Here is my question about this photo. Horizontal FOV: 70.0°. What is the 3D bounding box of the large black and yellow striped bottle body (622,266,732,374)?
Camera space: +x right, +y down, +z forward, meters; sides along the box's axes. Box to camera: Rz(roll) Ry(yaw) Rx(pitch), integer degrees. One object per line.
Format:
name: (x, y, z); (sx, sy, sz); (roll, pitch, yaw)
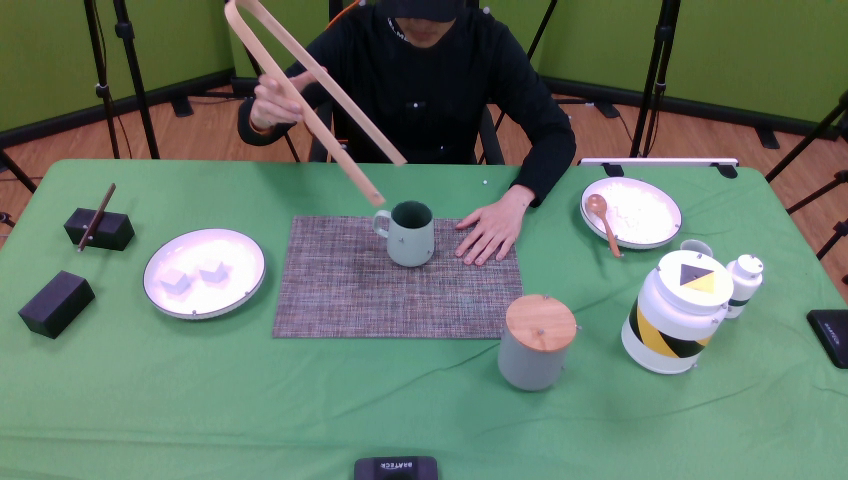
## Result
large black and yellow striped bottle body: (0.415, 0.119, 0.997); (0.131, 0.185, 0.130); (2, 46, -2)

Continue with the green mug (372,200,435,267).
green mug: (-0.040, -0.016, 1.146); (0.125, 0.105, 0.092); (17, 48, 13)

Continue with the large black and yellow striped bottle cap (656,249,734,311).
large black and yellow striped bottle cap: (0.419, 0.061, 0.938); (0.115, 0.019, 0.114); (2, 47, -2)

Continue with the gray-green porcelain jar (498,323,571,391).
gray-green porcelain jar: (0.176, 0.172, 0.971); (0.106, 0.127, 0.105); (2, 46, -2)

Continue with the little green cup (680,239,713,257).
little green cup: (0.530, 0.033, 1.189); (0.061, 0.039, 0.061); (2, 48, -3)

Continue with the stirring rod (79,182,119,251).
stirring rod: (-0.605, -0.046, 1.131); (0.006, 0.014, 0.175); (0, 46, 2)

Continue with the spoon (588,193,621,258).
spoon: (0.367, -0.032, 1.220); (0.041, 0.022, 0.192); (1, 38, -1)

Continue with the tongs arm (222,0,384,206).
tongs arm: (-0.184, -0.214, 0.969); (0.026, 0.386, 0.050); (-23, 27, 37)

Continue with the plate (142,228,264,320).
plate: (-0.394, 0.064, 1.095); (0.208, 0.039, 0.206); (2, 46, -2)

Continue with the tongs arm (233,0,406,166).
tongs arm: (-0.165, -0.258, 1.019); (0.028, 0.389, 0.028); (-20, 38, 39)

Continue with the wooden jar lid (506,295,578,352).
wooden jar lid: (0.179, 0.130, 0.926); (0.108, 0.021, 0.107); (2, 43, -2)

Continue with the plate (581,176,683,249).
plate: (0.430, -0.054, 1.267); (0.209, 0.038, 0.208); (2, 46, -2)

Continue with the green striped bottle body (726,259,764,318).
green striped bottle body: (0.563, 0.081, 1.089); (0.063, 0.120, 0.063); (2, 46, -2)

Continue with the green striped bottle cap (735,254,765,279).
green striped bottle cap: (0.566, 0.046, 1.051); (0.044, 0.020, 0.044); (0, 45, 0)
